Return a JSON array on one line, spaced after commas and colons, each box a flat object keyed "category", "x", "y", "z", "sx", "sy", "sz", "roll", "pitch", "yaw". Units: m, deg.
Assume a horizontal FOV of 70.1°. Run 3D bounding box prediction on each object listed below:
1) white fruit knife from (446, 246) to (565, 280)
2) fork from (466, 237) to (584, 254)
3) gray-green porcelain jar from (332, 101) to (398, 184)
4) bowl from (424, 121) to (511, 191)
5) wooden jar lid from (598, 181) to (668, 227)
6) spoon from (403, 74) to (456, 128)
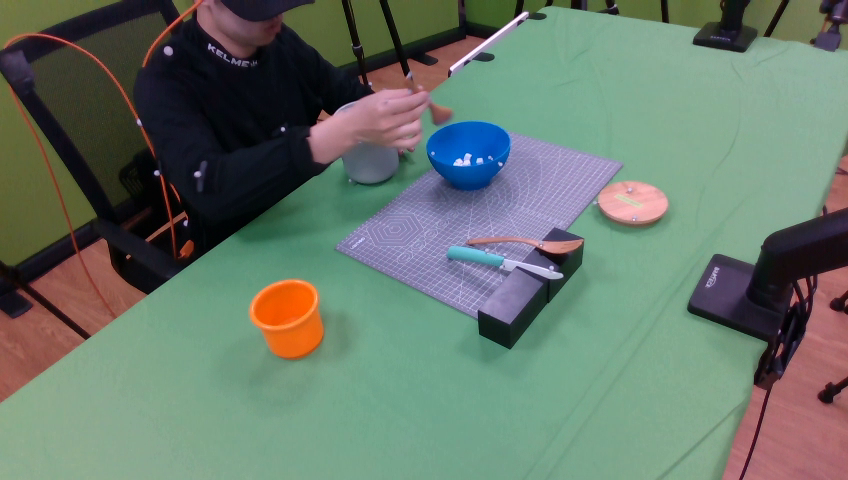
[{"category": "white fruit knife", "x": 0.111, "y": 0.033, "z": 0.868, "sx": 0.205, "sy": 0.027, "sz": 0.016, "roll": 11, "pitch": 44, "yaw": 40}, {"category": "fork", "x": 0.142, "y": 0.005, "z": 0.894, "sx": 0.205, "sy": 0.019, "sz": 0.028, "roll": 4, "pitch": 43, "yaw": 41}, {"category": "gray-green porcelain jar", "x": -0.104, "y": -0.174, "z": 1.108, "sx": 0.106, "sy": 0.127, "sz": 0.105, "roll": -4, "pitch": 40, "yaw": 4}, {"category": "bowl", "x": 0.080, "y": -0.141, "z": 1.074, "sx": 0.151, "sy": 0.077, "sz": 0.150, "roll": -4, "pitch": 40, "yaw": 4}, {"category": "wooden jar lid", "x": 0.340, "y": -0.057, "z": 0.988, "sx": 0.108, "sy": 0.021, "sz": 0.108, "roll": -5, "pitch": 41, "yaw": 5}, {"category": "spoon", "x": 0.008, "y": -0.217, "z": 0.950, "sx": 0.041, "sy": 0.195, "sz": 0.021, "roll": -36, "pitch": 66, "yaw": 13}]
